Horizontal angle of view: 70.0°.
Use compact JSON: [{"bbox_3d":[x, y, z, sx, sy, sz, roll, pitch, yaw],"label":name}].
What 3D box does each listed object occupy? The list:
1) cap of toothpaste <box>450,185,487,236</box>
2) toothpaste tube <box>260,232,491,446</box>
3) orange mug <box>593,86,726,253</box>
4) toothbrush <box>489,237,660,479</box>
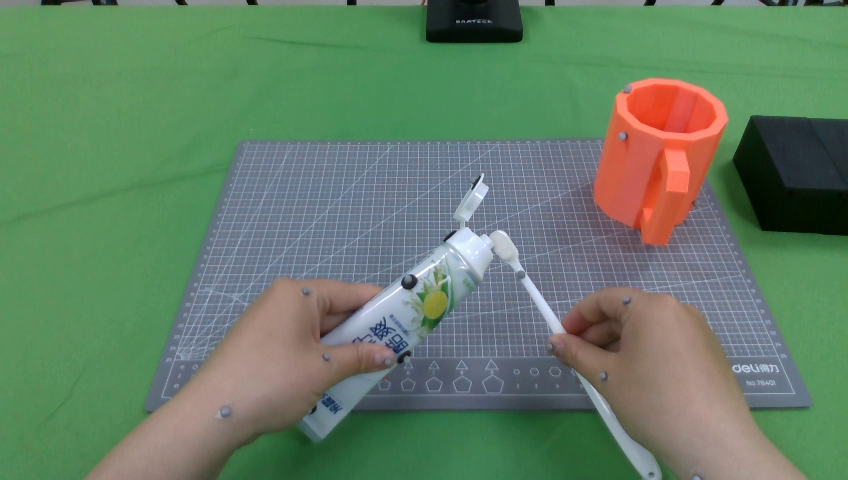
[{"bbox_3d":[0.030,-0.019,0.387,0.011,0.037,0.037,33,52,6],"label":"cap of toothpaste"},{"bbox_3d":[-0.022,0.055,0.375,0.165,0.055,0.034,-43,16,-6],"label":"toothpaste tube"},{"bbox_3d":[0.192,-0.054,0.502,0.083,0.102,0.125,6,42,7],"label":"orange mug"},{"bbox_3d":[0.091,0.073,0.377,0.014,0.017,0.181,-34,78,8],"label":"toothbrush"}]
